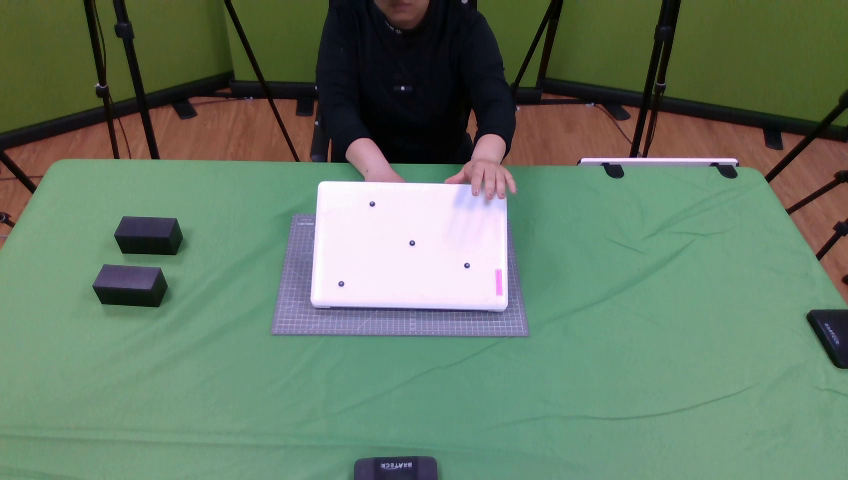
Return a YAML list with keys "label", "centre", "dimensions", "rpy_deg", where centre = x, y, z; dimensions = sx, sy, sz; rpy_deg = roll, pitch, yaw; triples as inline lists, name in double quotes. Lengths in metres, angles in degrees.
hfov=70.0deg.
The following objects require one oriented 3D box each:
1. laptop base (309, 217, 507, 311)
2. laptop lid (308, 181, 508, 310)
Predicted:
- label: "laptop base"
  centre: [-0.028, 0.044, 1.154]
  dimensions: [0.354, 0.023, 0.234]
  rpy_deg: [1, 42, -3]
- label: "laptop lid"
  centre: [-0.024, 0.007, 1.093]
  dimensions: [0.357, 0.013, 0.241]
  rpy_deg: [3, 75, -2]
